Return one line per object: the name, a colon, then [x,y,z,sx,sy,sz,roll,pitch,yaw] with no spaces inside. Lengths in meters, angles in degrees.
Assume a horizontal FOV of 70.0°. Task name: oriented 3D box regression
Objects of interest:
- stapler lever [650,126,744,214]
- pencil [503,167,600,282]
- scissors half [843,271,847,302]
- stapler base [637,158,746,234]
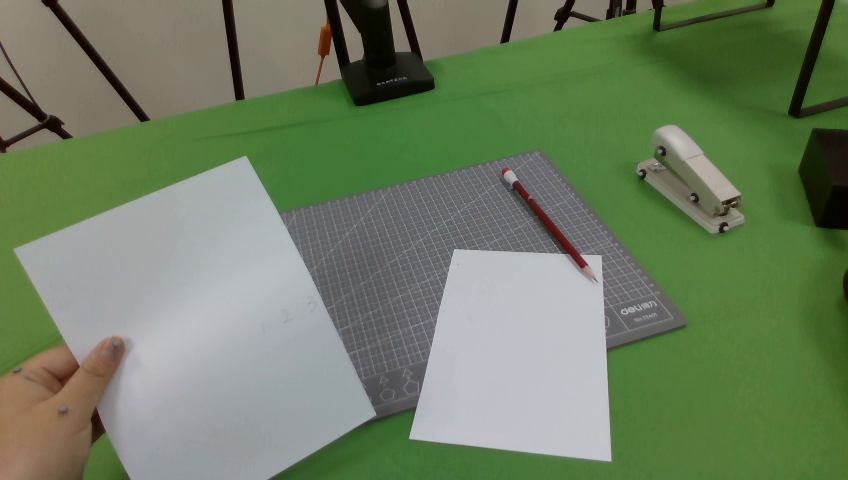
stapler lever: [0.272,-0.074,0.608,0.027,0.040,0.116,-20,44,-10]
pencil: [0.125,-0.021,0.613,0.012,0.012,0.191,-17,43,-11]
scissors half: [0.386,-0.005,0.516,0.040,0.013,0.174,13,63,26]
stapler base: [0.274,-0.056,0.626,0.041,0.025,0.129,-20,44,-11]
